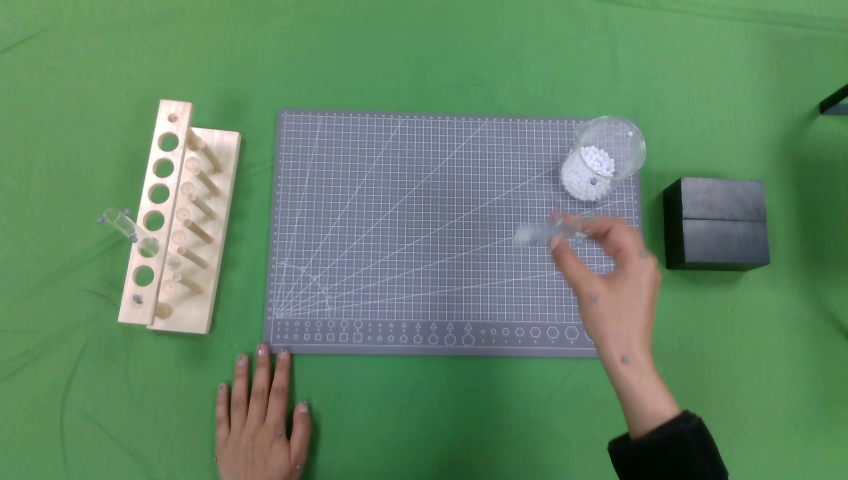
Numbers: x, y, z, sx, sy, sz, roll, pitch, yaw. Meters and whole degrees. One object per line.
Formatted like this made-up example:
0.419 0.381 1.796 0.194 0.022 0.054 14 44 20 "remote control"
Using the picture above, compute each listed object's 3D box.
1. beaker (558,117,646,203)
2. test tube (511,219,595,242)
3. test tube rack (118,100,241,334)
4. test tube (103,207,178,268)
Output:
0.199 -0.090 0.705 0.084 0.100 0.074 32 78 6 "beaker"
0.113 -0.008 0.554 0.017 0.150 0.017 0 88 -14 "test tube"
-0.266 -0.023 0.675 0.067 0.085 0.241 6 78 -2 "test tube rack"
-0.285 0.001 0.619 0.017 0.151 0.017 0 71 -1 "test tube"
